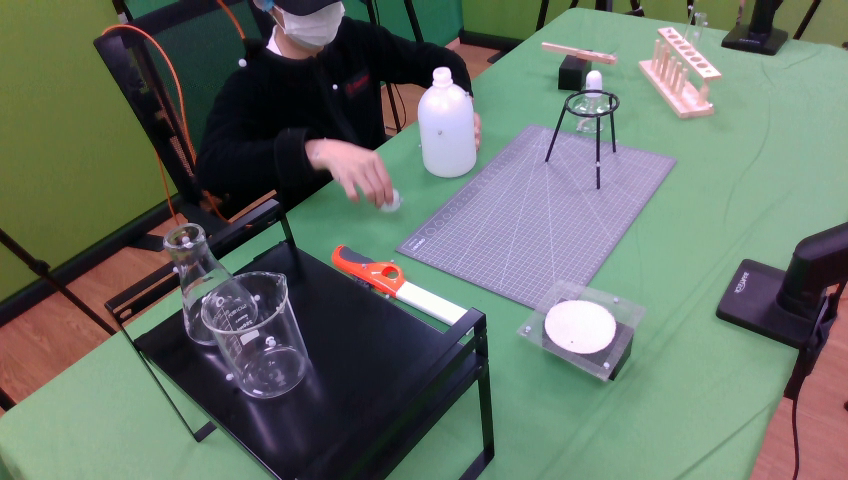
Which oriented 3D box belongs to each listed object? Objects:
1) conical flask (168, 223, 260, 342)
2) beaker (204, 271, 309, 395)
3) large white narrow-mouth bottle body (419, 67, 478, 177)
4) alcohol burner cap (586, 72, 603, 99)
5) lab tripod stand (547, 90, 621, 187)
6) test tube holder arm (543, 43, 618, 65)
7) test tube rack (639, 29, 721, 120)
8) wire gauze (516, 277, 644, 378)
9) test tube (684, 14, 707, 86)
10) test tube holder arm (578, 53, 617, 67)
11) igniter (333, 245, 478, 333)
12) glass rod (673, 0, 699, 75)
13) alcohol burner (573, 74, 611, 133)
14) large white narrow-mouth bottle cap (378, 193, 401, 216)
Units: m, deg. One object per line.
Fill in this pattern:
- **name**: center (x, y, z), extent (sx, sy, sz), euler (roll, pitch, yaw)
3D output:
- **conical flask**: center (-0.219, 0.040, 0.614), extent (0.075, 0.122, 0.075), euler (-5, 40, 4)
- **beaker**: center (-0.149, 0.088, 0.565), extent (0.073, 0.101, 0.084), euler (21, 47, 29)
- **large white narrow-mouth bottle body**: center (0.043, -0.217, 1.099), extent (0.102, 0.195, 0.101), euler (-4, 40, 4)
- **alcohol burner cap**: center (0.325, -0.297, 1.154), extent (0.034, 0.048, 0.033), euler (-8, 35, 6)
- **lab tripod stand**: center (0.289, -0.184, 1.062), extent (0.148, 0.132, 0.147), euler (-6, 41, 6)
- **test tube holder arm**: center (0.345, -0.413, 1.341), extent (0.177, 0.015, 0.013), euler (25, 50, 31)
- **test tube rack**: center (0.527, -0.351, 1.262), extent (0.067, 0.085, 0.241), euler (-8, 40, 1)
- **wire gauze**: center (0.197, 0.103, 0.765), extent (0.124, 0.011, 0.122), euler (23, 50, 32)
- **test tube**: center (0.541, -0.379, 1.216), extent (0.017, 0.151, 0.017), euler (-2, 44, 2)
- **test tube holder arm**: center (0.376, -0.393, 1.314), extent (0.087, 0.015, 0.010), euler (26, 51, 32)
- **igniter**: center (-0.038, 0.068, 0.905), extent (0.274, 0.025, 0.057), euler (24, 60, 32)
- **glass rod**: center (0.541, -0.427, 1.246), extent (0.008, 0.200, 0.008), euler (0, 48, 1)
- **alcohol burner**: center (0.330, -0.270, 1.176), extent (0.078, 0.119, 0.077), euler (-4, 43, 4)
- **large white narrow-mouth bottle cap**: center (-0.056, -0.058, 0.988), extent (0.038, 0.024, 0.037), euler (-4, 40, 4)
